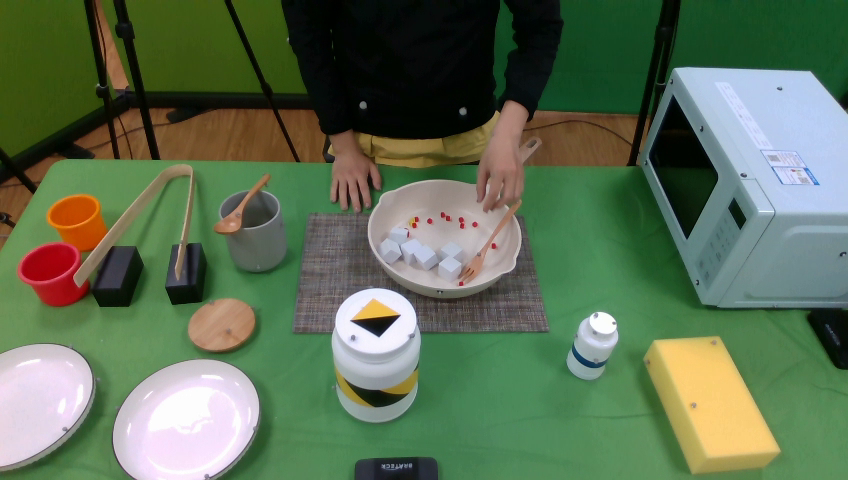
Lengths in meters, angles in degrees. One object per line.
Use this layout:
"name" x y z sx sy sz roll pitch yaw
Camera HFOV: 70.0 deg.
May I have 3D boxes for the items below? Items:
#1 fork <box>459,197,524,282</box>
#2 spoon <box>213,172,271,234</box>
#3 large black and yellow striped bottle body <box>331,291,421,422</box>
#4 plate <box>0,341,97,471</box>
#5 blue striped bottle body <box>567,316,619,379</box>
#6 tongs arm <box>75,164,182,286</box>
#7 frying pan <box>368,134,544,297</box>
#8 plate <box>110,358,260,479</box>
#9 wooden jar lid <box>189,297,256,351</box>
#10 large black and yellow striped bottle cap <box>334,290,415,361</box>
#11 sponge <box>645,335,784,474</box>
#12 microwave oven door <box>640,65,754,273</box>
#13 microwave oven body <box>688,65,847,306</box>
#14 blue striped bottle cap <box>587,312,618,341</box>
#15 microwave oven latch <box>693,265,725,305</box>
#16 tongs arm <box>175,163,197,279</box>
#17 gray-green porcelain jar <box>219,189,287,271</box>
"fork" 0.132 -0.004 1.158 0.028 0.019 0.207 28 75 31
"spoon" -0.312 -0.069 1.068 0.041 0.022 0.193 10 43 10
"large black and yellow striped bottle body" -0.071 0.175 0.911 0.131 0.185 0.130 2 47 -2
"plate" -0.599 0.247 0.904 0.209 0.038 0.208 2 47 -2
"blue striped bottle body" 0.276 0.168 0.984 0.063 0.121 0.062 2 46 -2
"tongs arm" -0.547 -0.043 1.143 0.028 0.028 0.385 -3 34 7
"frying pan" 0.104 -0.068 1.205 0.305 0.103 0.487 32 61 23
"plate" -0.349 0.273 0.899 0.208 0.039 0.206 2 46 -2
"wooden jar lid" -0.342 0.145 1.033 0.108 0.021 0.107 2 45 -2
"large black and yellow striped bottle cap" -0.069 0.117 0.850 0.115 0.019 0.114 2 45 -2
"sponge" 0.449 0.253 0.956 0.118 0.061 0.205 -4 46 -7
"microwave oven door" 0.522 -0.147 1.193 0.039 0.245 0.353 0 47 -3
"microwave oven body" 0.669 -0.111 1.176 0.326 0.261 0.439 0 46 -3
"blue striped bottle cap" 0.279 0.134 0.946 0.044 0.021 0.044 2 45 -2
"microwave oven latch" 0.523 0.081 1.116 0.030 0.029 0.078 2 46 -1
"tongs arm" -0.462 -0.049 1.149 0.051 0.026 0.382 -8 36 -7
"gray-green porcelain jar" -0.309 -0.014 1.113 0.106 0.127 0.105 2 46 -2
